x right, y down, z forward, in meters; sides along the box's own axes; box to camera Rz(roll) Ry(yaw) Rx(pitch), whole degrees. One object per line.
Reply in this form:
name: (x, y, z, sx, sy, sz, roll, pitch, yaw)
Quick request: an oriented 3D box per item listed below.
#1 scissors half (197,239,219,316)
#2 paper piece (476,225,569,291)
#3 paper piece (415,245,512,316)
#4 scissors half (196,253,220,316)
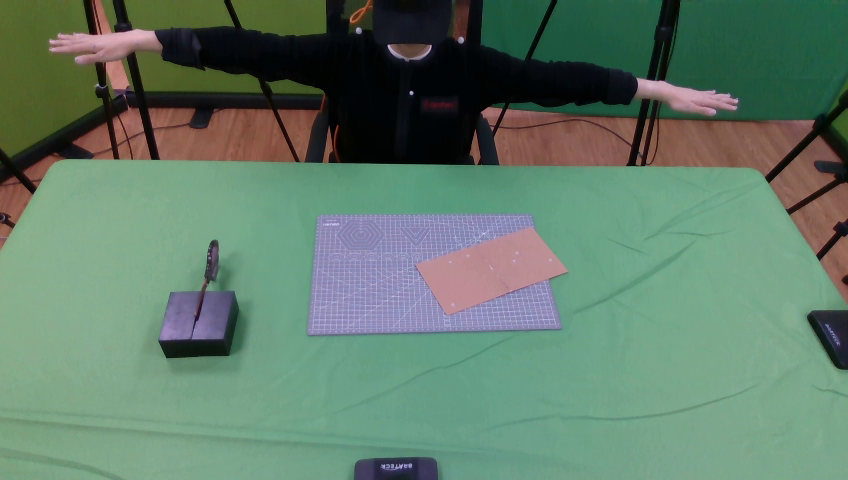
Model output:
scissors half: (-0.375, 0.063, 1.049, 0.013, 0.040, 0.174, 7, 46, -11)
paper piece: (0.192, 0.033, 1.185, 0.136, 0.004, 0.134, -17, 51, -19)
paper piece: (0.072, 0.071, 1.140, 0.138, 0.009, 0.135, -18, 46, -18)
scissors half: (-0.379, 0.078, 1.062, 0.013, 0.040, 0.174, 3, 29, -8)
